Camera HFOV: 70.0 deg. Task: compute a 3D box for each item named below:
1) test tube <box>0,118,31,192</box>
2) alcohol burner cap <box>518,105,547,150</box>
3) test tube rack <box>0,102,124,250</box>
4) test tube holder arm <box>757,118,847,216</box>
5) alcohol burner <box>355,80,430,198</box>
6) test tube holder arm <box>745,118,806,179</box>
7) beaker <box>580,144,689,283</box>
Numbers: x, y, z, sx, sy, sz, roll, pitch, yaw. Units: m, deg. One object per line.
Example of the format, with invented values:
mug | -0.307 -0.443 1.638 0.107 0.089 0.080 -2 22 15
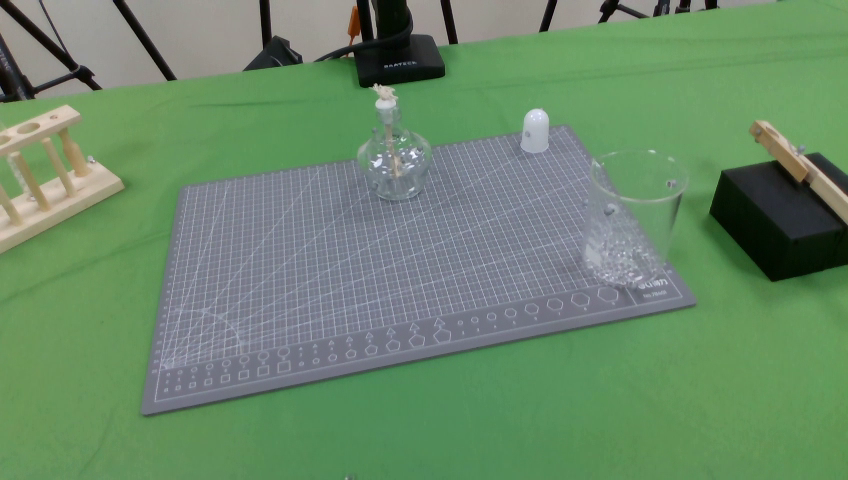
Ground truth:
test tube | -0.426 -0.111 0.603 0.017 0.151 0.017 -1 40 2
alcohol burner cap | 0.122 -0.128 0.677 0.034 0.048 0.033 -2 42 3
test tube rack | -0.442 -0.042 0.604 0.066 0.086 0.242 29 52 32
test tube holder arm | 0.340 -0.058 0.529 0.013 0.015 0.176 -5 41 -10
alcohol burner | -0.034 -0.104 0.610 0.078 0.120 0.077 -4 41 4
test tube holder arm | 0.327 -0.086 0.561 0.010 0.015 0.087 -5 41 -9
beaker | 0.169 -0.021 0.511 0.074 0.101 0.083 -31 48 -26
